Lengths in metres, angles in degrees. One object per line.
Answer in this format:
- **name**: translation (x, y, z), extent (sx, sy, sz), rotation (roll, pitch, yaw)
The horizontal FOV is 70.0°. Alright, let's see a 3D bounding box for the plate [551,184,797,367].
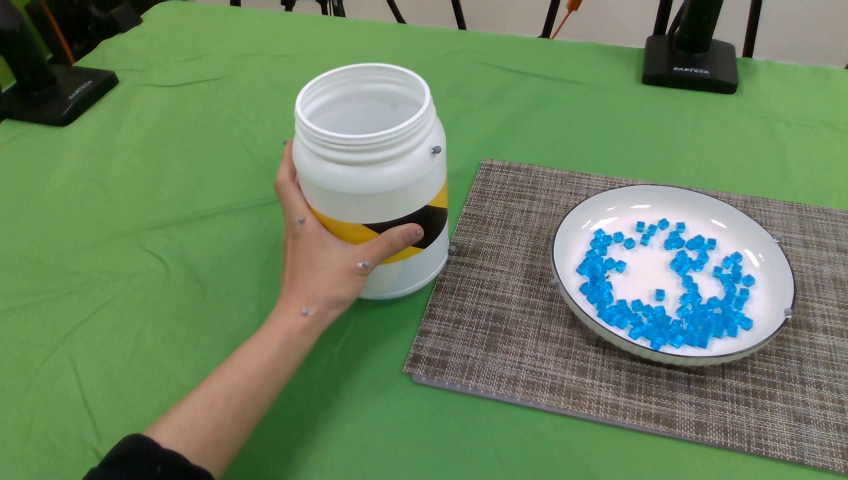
- **plate**: translation (0.219, 0.030, 0.550), extent (0.207, 0.039, 0.205), rotation (-1, 46, 2)

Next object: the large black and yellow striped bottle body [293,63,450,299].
- **large black and yellow striped bottle body**: translation (-0.043, -0.050, 0.546), extent (0.131, 0.186, 0.129), rotation (-2, 46, 2)
